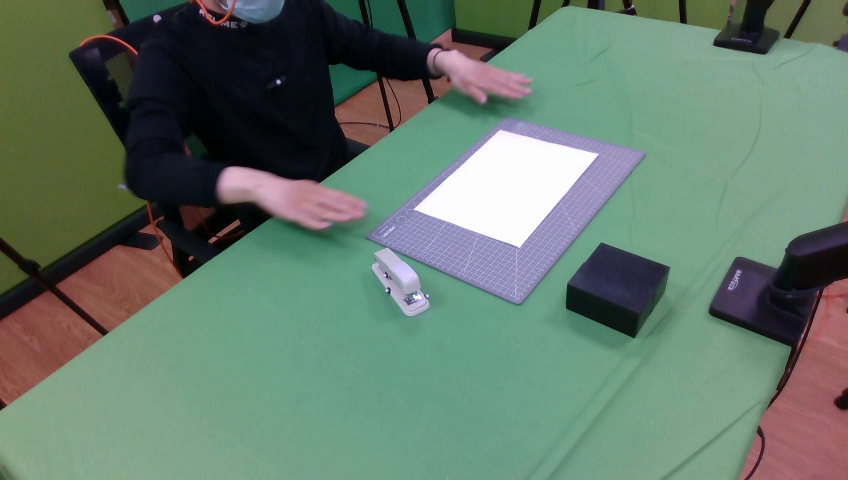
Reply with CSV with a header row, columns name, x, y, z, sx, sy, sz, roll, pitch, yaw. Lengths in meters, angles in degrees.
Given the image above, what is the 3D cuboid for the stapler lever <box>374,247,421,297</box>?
name,x,y,z,sx,sy,sz,roll,pitch,yaw
stapler lever,-0.040,0.041,0.889,0.027,0.040,0.117,-21,41,-20

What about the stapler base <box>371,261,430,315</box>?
name,x,y,z,sx,sy,sz,roll,pitch,yaw
stapler base,-0.037,0.061,0.904,0.041,0.024,0.129,-21,41,-20
